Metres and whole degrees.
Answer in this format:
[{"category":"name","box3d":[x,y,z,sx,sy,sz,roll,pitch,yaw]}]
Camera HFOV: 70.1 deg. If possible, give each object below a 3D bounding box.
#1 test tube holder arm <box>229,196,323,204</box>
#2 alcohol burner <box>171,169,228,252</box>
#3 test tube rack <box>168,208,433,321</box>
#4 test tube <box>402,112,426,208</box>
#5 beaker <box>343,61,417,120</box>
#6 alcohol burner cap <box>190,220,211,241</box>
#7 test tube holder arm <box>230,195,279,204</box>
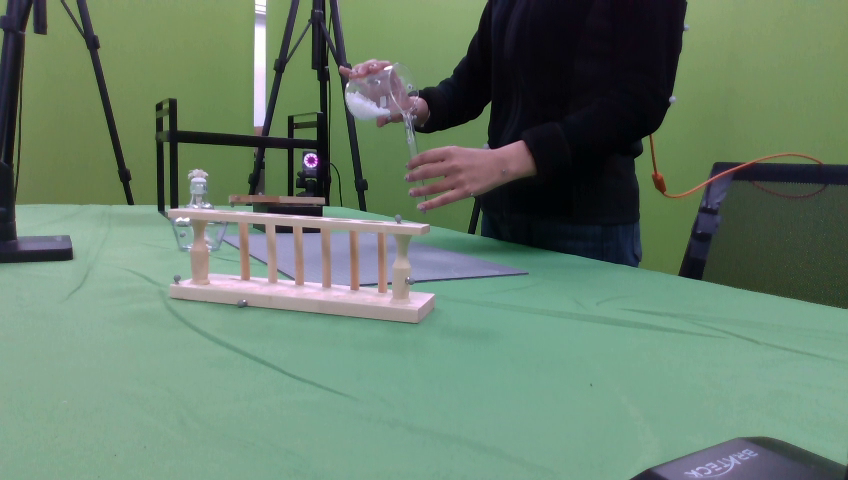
[{"category":"test tube holder arm","box3d":[-0.276,-0.076,1.144,0.179,0.015,0.013,-2,1,-33]},{"category":"alcohol burner","box3d":[-0.325,-0.043,0.875,0.078,0.119,0.078,0,6,0]},{"category":"test tube rack","box3d":[-0.115,0.017,0.574,0.242,0.085,0.067,4,8,14]},{"category":"test tube","box3d":[-0.016,-0.124,0.940,0.017,0.150,0.017,-10,0,0]},{"category":"beaker","box3d":[-0.072,-0.232,0.964,0.100,0.084,0.074,-5,8,36]},{"category":"alcohol burner cap","box3d":[-0.365,-0.023,0.988,0.034,0.048,0.034,1,7,0]},{"category":"test tube holder arm","box3d":[-0.312,-0.075,1.115,0.088,0.015,0.010,-2,1,-31]}]
